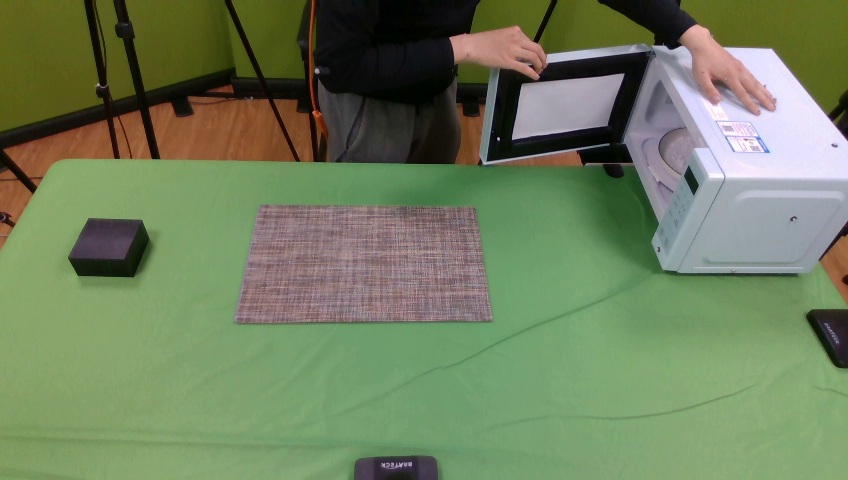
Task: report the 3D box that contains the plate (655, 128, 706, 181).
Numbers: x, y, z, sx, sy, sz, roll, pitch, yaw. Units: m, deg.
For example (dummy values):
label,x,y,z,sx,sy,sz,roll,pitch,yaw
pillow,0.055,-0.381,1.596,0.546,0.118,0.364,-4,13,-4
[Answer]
label,x,y,z,sx,sy,sz,roll,pitch,yaw
plate,0.600,-0.167,1.304,0.209,0.038,0.208,2,45,-2

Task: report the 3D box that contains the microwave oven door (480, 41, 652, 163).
label,x,y,z,sx,sy,sz,roll,pitch,yaw
microwave oven door,0.306,-0.300,1.328,0.356,0.245,0.039,-11,48,-13

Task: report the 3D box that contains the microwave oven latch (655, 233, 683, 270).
label,x,y,z,sx,sy,sz,roll,pitch,yaw
microwave oven latch,0.473,0.021,1.175,0.030,0.029,0.078,2,46,0

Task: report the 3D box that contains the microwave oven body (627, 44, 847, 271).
label,x,y,z,sx,sy,sz,roll,pitch,yaw
microwave oven body,0.619,-0.173,1.234,0.326,0.261,0.439,0,46,-3
